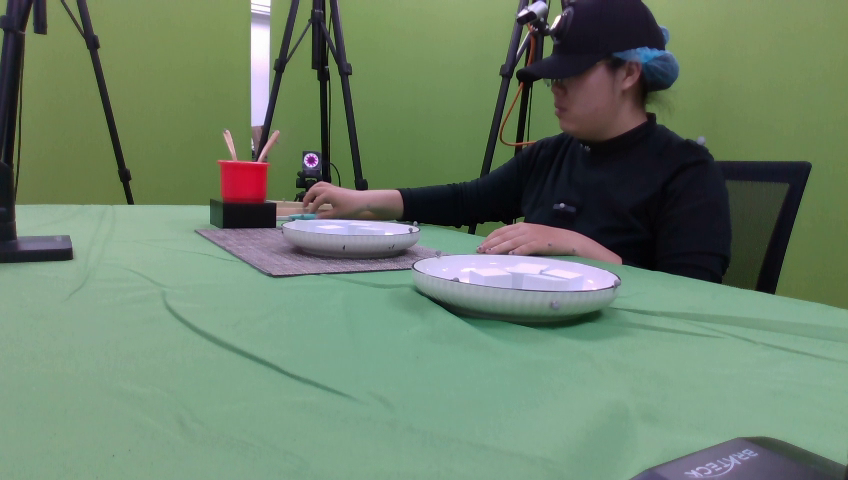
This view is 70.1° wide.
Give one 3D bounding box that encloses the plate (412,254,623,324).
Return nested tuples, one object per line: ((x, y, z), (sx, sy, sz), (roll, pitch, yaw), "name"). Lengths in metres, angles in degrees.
((0.090, 0.047, 0.609), (0.209, 0.038, 0.209), (2, 7, 0), "plate")

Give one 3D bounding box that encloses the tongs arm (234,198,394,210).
((-0.263, -0.076, 1.460), (0.386, 0.026, 0.050), (3, 8, -8), "tongs arm")

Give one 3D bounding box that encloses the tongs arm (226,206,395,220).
((-0.248, -0.061, 1.382), (0.389, 0.028, 0.028), (0, 5, -21), "tongs arm")

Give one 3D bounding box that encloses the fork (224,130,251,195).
((-0.372, -0.156, 1.193), (0.028, 0.018, 0.206), (-17, 54, -14), "fork")

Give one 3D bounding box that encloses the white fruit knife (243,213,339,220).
((-0.288, -0.048, 1.323), (0.208, 0.016, 0.027), (-1, -20, -19), "white fruit knife")

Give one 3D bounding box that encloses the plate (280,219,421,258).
((-0.108, -0.002, 0.902), (0.208, 0.039, 0.207), (3, 7, 0), "plate")

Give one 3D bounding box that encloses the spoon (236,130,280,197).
((-0.321, -0.153, 1.192), (0.041, 0.193, 0.022), (0, -37, 19), "spoon")
